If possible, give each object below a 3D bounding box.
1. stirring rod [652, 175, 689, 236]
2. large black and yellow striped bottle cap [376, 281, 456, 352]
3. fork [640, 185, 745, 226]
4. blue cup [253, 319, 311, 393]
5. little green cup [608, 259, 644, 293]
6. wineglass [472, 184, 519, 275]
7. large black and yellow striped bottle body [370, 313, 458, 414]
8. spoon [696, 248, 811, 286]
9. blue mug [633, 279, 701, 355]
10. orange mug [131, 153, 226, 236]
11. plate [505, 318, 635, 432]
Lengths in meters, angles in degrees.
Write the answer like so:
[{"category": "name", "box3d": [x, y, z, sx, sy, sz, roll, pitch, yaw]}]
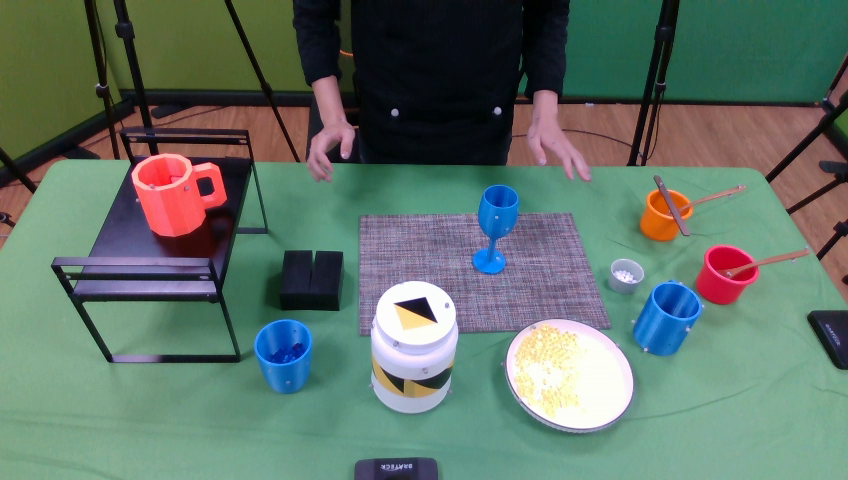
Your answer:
[{"category": "stirring rod", "box3d": [0.491, -0.072, 1.211, 0.014, 0.006, 0.175, -1, 46, -6]}, {"category": "large black and yellow striped bottle cap", "box3d": [-0.011, 0.107, 0.863, 0.115, 0.019, 0.114, 2, 47, -2]}, {"category": "fork", "box3d": [0.534, -0.069, 1.215, 0.207, 0.019, 0.028, -26, 27, 33]}, {"category": "blue cup", "box3d": [-0.217, 0.187, 0.943, 0.093, 0.101, 0.092, 3, 45, -3]}, {"category": "little green cup", "box3d": [0.379, 0.070, 1.147, 0.061, 0.039, 0.061, 3, 45, -2]}, {"category": "wineglass", "box3d": [0.129, -0.018, 1.113, 0.074, 0.173, 0.073, 2, 46, -2]}, {"category": "large black and yellow striped bottle body", "box3d": [-0.017, 0.165, 0.924, 0.131, 0.185, 0.130, 2, 46, -2]}, {"category": "spoon", "box3d": [0.601, 0.048, 1.112, 0.193, 0.022, 0.041, -25, 31, 35]}, {"category": "blue mug", "box3d": [0.419, 0.124, 1.052, 0.082, 0.106, 0.116, 14, 46, 9]}, {"category": "orange mug", "box3d": [-0.375, -0.075, 0.937, 0.126, 0.101, 0.083, -20, 50, -17]}, {"category": "plate", "box3d": [0.235, 0.221, 0.991, 0.209, 0.038, 0.208, 2, 45, -2]}]
